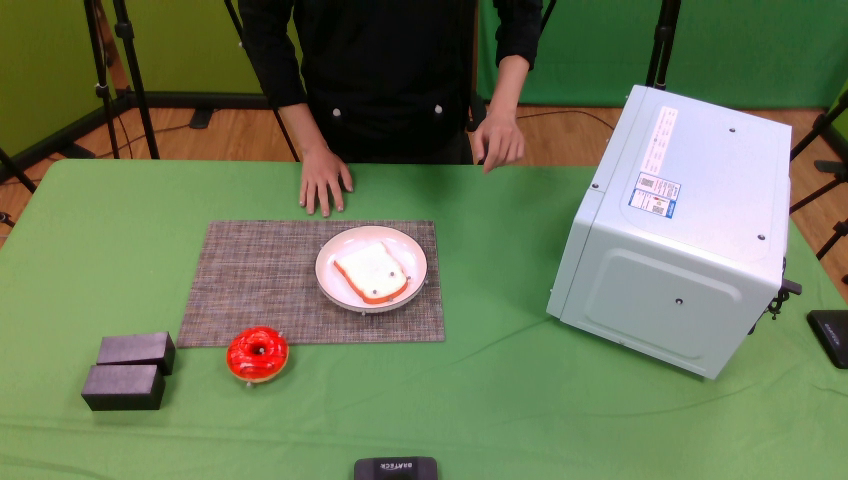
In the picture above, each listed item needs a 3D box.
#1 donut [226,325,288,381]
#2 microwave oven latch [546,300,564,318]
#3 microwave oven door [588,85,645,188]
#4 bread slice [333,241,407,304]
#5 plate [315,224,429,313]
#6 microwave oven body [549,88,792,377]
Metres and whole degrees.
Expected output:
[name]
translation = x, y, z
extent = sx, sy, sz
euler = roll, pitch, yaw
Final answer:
[donut]
translation = -0.270, 0.182, 0.984
extent = 0.099, 0.048, 0.098
euler = 5, 49, -5
[microwave oven latch]
translation = 0.242, 0.102, 1.081
extent = 0.030, 0.029, 0.079
euler = 21, 48, 17
[microwave oven door]
translation = 0.342, -0.107, 1.149
extent = 0.039, 0.245, 0.354
euler = 20, 48, 15
[bread slice]
translation = -0.092, 0.060, 1.117
extent = 0.105, 0.019, 0.130
euler = -24, 52, -24
[plate]
translation = -0.096, 0.055, 1.121
extent = 0.208, 0.039, 0.206
euler = 2, 46, -2
[microwave oven body]
translation = 0.456, -0.028, 1.088
extent = 0.325, 0.261, 0.440
euler = 20, 47, 16
